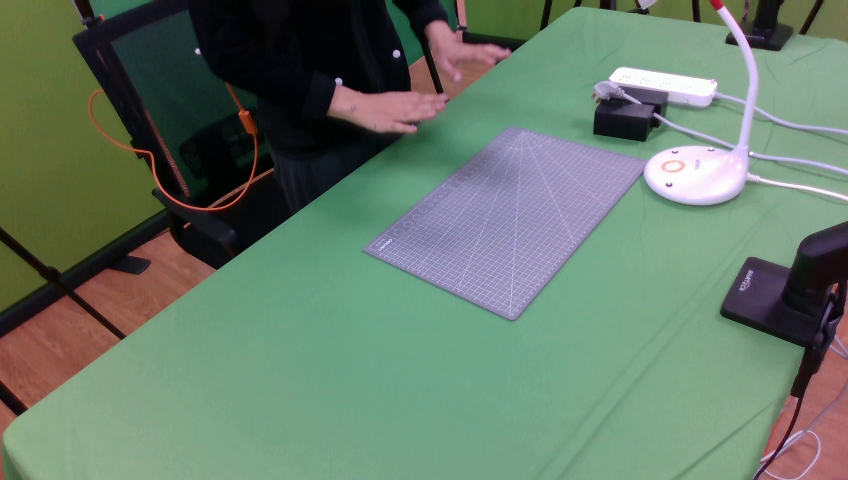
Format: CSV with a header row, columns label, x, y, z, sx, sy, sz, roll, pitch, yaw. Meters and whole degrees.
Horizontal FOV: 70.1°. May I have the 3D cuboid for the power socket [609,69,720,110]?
label,x,y,z,sx,sy,sz,roll,pitch,yaw
power socket,0.492,-0.315,1.256,0.225,0.033,0.072,20,49,30

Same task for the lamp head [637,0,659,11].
label,x,y,z,sx,sy,sz,roll,pitch,yaw
lamp head,0.330,-0.391,0.827,0.122,0.113,0.112,-21,35,25

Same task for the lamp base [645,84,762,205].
label,x,y,z,sx,sy,sz,roll,pitch,yaw
lamp base,0.461,-0.170,0.975,0.179,0.181,0.160,3,41,11

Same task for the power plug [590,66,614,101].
label,x,y,z,sx,sy,sz,roll,pitch,yaw
power plug,0.355,-0.304,1.198,0.035,0.052,0.072,42,43,-8
